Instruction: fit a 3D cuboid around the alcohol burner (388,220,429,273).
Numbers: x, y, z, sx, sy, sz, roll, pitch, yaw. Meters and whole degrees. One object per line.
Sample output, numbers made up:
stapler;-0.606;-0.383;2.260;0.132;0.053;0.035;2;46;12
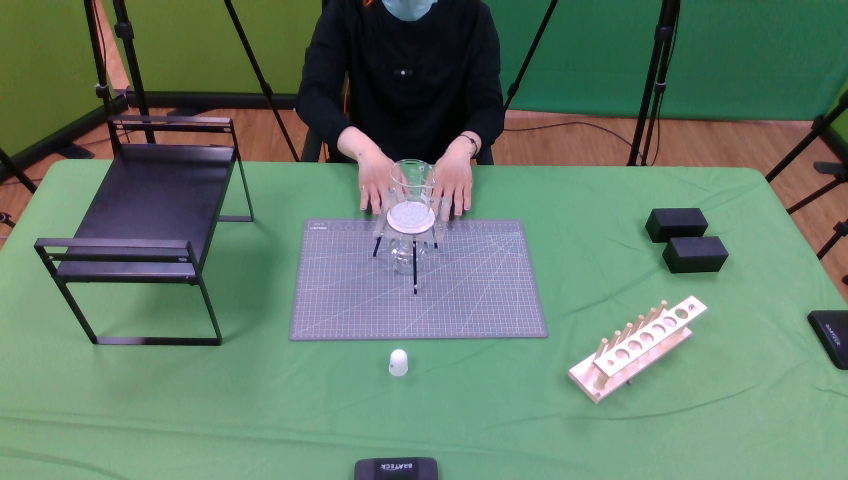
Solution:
alcohol burner;-0.028;0.006;1.118;0.078;0.119;0.077;2;48;-2

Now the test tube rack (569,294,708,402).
test tube rack;0.360;0.167;1.014;0.242;0.085;0.066;-25;53;-25

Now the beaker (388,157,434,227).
beaker;-0.021;-0.077;1.026;0.083;0.101;0.074;30;50;22

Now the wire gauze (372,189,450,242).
wire gauze;-0.020;-0.043;1.061;0.121;0.011;0.124;9;42;2

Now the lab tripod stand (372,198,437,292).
lab tripod stand;-0.025;-0.002;1.112;0.148;0.132;0.147;2;44;-2

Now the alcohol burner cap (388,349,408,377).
alcohol burner cap;-0.042;0.197;0.989;0.034;0.048;0.033;3;46;-2
